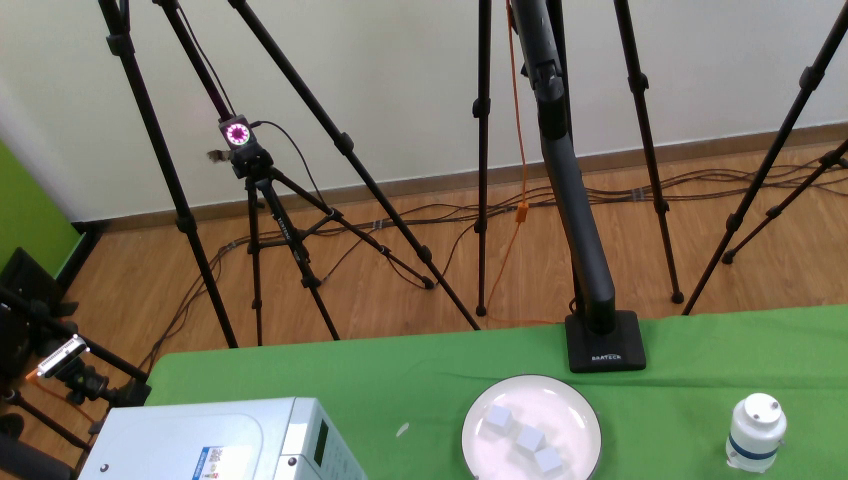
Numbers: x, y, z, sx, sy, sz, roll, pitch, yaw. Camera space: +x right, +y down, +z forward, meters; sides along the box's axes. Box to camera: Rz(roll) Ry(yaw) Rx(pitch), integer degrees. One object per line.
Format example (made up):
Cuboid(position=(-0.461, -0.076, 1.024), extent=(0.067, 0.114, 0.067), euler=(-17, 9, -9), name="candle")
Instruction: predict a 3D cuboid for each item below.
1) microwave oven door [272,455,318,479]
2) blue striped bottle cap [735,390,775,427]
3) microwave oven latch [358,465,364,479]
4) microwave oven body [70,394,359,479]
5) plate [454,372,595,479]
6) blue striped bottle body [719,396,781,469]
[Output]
Cuboid(position=(-0.147, 0.457, 0.668), extent=(0.039, 0.246, 0.352), euler=(-7, 44, 12), name="microwave oven door")
Cuboid(position=(0.422, 0.214, 0.772), extent=(0.044, 0.021, 0.044), euler=(-8, 44, 8), name="blue striped bottle cap")
Cuboid(position=(-0.107, 0.374, 0.890), extent=(0.030, 0.030, 0.078), euler=(-6, 45, 11), name="microwave oven latch")
Cuboid(position=(-0.286, 0.447, 0.729), extent=(0.325, 0.263, 0.437), euler=(-6, 45, 11), name="microwave oven body")
Cuboid(position=(0.150, 0.297, 0.913), extent=(0.207, 0.039, 0.205), euler=(-9, 44, 9), name="plate")
Cuboid(position=(0.434, 0.250, 0.807), extent=(0.063, 0.122, 0.062), euler=(-9, 44, 9), name="blue striped bottle body")
